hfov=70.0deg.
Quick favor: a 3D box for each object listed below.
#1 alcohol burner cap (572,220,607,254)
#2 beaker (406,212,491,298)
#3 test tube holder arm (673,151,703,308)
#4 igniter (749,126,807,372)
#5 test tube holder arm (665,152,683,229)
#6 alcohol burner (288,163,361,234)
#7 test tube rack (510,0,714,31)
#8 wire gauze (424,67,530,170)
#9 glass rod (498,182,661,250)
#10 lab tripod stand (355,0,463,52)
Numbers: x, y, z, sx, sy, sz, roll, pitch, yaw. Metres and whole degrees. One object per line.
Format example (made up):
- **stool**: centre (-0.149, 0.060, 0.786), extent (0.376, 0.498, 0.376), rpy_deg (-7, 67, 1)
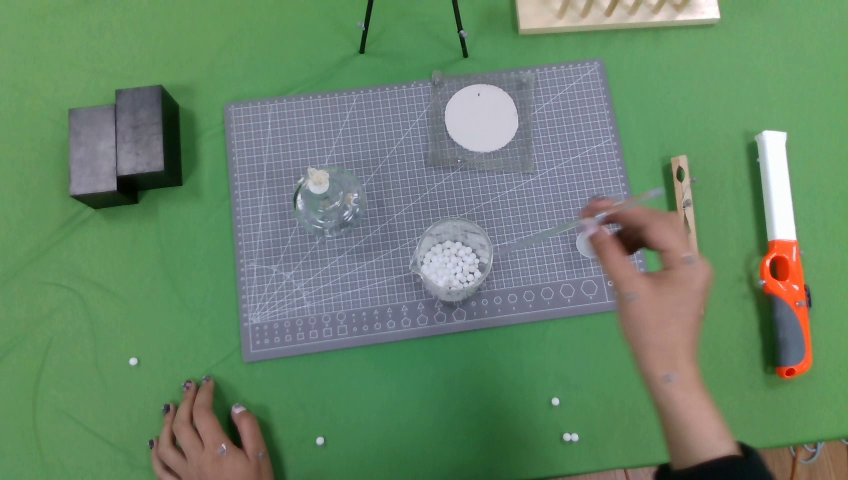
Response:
- **alcohol burner cap**: centre (0.183, -0.006, 0.661), extent (0.034, 0.048, 0.033), rpy_deg (0, 78, -1)
- **beaker**: centre (0.023, 0.021, 0.624), extent (0.084, 0.100, 0.073), rpy_deg (-15, 78, -3)
- **test tube holder arm**: centre (0.294, -0.013, 0.677), extent (0.013, 0.015, 0.177), rpy_deg (-12, 76, 33)
- **igniter**: centre (0.391, 0.006, 0.672), extent (0.057, 0.025, 0.275), rpy_deg (3, 78, -11)
- **test tube holder arm**: centre (0.286, -0.056, 0.689), extent (0.010, 0.015, 0.087), rpy_deg (-11, 77, 33)
- **alcohol burner**: centre (-0.106, -0.048, 0.628), extent (0.078, 0.119, 0.077), rpy_deg (0, 77, 2)
- **test tube rack**: centre (0.227, -0.302, 0.703), extent (0.242, 0.085, 0.066), rpy_deg (-4, 78, -2)
- **wire gauze**: centre (0.063, -0.144, 0.705), extent (0.125, 0.011, 0.121), rpy_deg (3, 79, -1)
- **glass rod**: centre (0.111, -0.015, 0.477), extent (0.008, 0.199, 0.008), rpy_deg (6, 75, -23)
- **lab tripod stand**: centre (-0.017, -0.274, 0.669), extent (0.148, 0.132, 0.148), rpy_deg (0, 80, -1)
